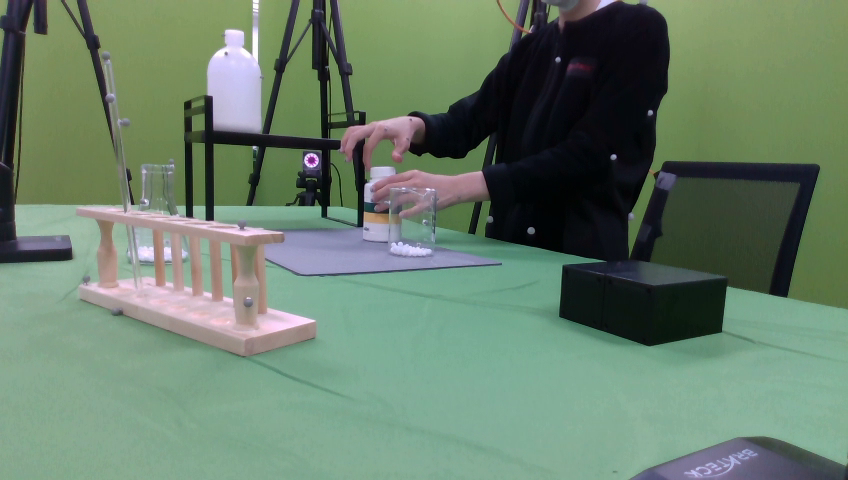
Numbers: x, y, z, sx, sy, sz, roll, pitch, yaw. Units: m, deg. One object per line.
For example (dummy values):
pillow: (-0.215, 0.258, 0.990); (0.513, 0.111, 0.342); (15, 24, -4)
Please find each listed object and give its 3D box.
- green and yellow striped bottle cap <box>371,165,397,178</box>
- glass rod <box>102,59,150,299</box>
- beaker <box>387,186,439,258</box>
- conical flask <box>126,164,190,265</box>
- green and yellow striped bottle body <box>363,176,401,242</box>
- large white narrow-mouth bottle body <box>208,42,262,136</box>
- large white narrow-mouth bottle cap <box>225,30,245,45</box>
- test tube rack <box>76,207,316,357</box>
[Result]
green and yellow striped bottle cap: (-0.068, -0.115, 1.028); (0.045, 0.020, 0.045); (-5, 3, 1)
glass rod: (-0.243, -0.045, 0.496); (0.008, 0.199, 0.008); (-4, 13, 1)
beaker: (-0.015, -0.027, 0.885); (0.074, 0.100, 0.083); (-1, 8, -20)
conical flask: (-0.332, -0.033, 0.756); (0.075, 0.122, 0.075); (2, 7, 0)
green and yellow striped bottle body: (-0.072, -0.059, 1.036); (0.063, 0.119, 0.063); (3, 7, 0)
large white narrow-mouth bottle body: (-0.368, -0.304, 1.181); (0.102, 0.194, 0.101); (2, 9, 0)
large white narrow-mouth bottle cap: (-0.365, -0.390, 1.166); (0.038, 0.024, 0.037); (2, 9, 0)
test tube rack: (-0.196, 0.023, 0.500); (0.241, 0.085, 0.067); (8, 9, 36)
